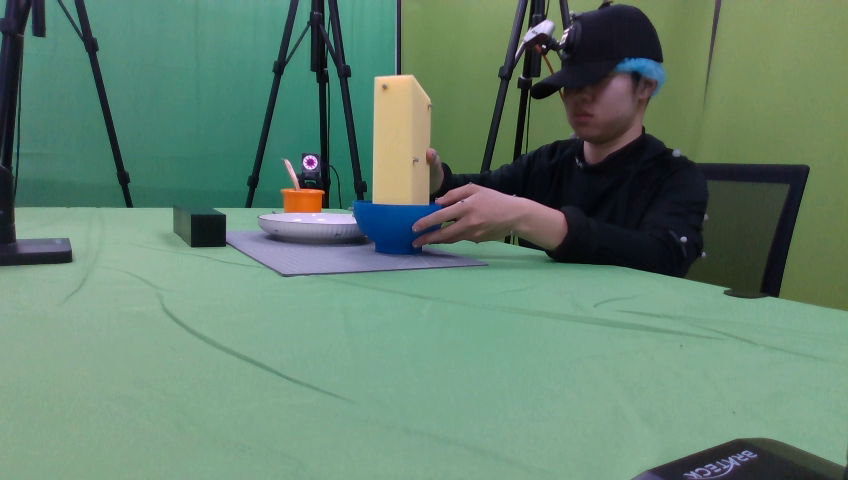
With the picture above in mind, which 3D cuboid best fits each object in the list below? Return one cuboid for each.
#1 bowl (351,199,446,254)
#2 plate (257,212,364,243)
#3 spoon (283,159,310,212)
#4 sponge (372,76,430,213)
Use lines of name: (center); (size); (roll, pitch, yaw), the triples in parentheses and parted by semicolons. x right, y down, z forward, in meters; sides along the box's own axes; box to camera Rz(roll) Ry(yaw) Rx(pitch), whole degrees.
bowl: (-0.041, -0.021, 0.948); (0.151, 0.077, 0.151); (2, 6, 0)
plate: (-0.189, -0.023, 1.072); (0.209, 0.038, 0.209); (3, 7, 0)
spoon: (-0.279, -0.111, 1.324); (0.042, 0.193, 0.021); (3, -39, -35)
sponge: (-0.034, -0.134, 0.942); (0.061, 0.206, 0.118); (-1, -4, 14)
